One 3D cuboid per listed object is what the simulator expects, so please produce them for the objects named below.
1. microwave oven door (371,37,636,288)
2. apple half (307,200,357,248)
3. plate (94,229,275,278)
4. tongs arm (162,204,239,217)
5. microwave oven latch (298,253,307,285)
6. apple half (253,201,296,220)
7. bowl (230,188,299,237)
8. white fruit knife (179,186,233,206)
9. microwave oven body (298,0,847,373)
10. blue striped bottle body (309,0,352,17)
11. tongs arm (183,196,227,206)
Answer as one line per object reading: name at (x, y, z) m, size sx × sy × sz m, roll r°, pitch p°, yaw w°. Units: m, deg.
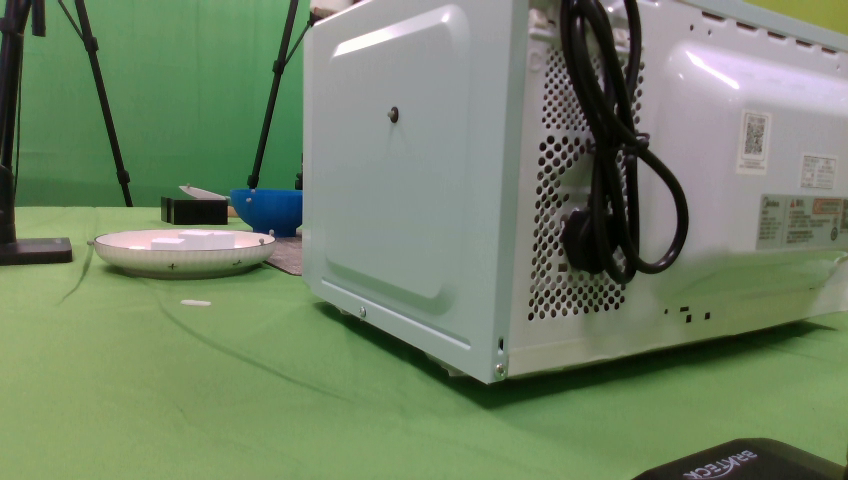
microwave oven door at (0.109, -0.080, 0.686) m, size 0.358 × 0.243 × 0.039 m, roll -2°, pitch 9°, yaw -33°
apple half at (-0.135, -0.024, 0.942) m, size 0.053 × 0.074 × 0.081 m, roll 13°, pitch 8°, yaw 38°
plate at (-0.291, 0.016, 0.750) m, size 0.208 × 0.039 × 0.207 m, roll 2°, pitch 7°, yaw 0°
tongs arm at (-0.396, -0.066, 1.399) m, size 0.389 × 0.028 × 0.028 m, roll 1°, pitch 6°, yaw -15°
microwave oven latch at (-0.081, 0.027, 0.582) m, size 0.079 × 0.029 × 0.030 m, roll -2°, pitch 8°, yaw -33°
apple half at (-0.264, -0.053, 1.067) m, size 0.081 × 0.033 × 0.081 m, roll 1°, pitch 8°, yaw 0°
bowl at (-0.264, -0.048, 1.066) m, size 0.151 × 0.077 × 0.151 m, roll 3°, pitch 8°, yaw 0°
white fruit knife at (-0.413, -0.081, 1.270) m, size 0.208 × 0.027 × 0.016 m, roll 18°, pitch 14°, yaw -41°
microwave oven body at (0.151, -0.055, 0.542) m, size 0.444 × 0.260 × 0.324 m, roll -2°, pitch 7°, yaw -33°
blue striped bottle body at (-0.132, -0.394, 0.902) m, size 0.063 × 0.120 × 0.063 m, roll 11°, pitch 8°, yaw -1°
tongs arm at (-0.404, -0.081, 1.479) m, size 0.385 × 0.026 × 0.050 m, roll 3°, pitch 8°, yaw -2°
